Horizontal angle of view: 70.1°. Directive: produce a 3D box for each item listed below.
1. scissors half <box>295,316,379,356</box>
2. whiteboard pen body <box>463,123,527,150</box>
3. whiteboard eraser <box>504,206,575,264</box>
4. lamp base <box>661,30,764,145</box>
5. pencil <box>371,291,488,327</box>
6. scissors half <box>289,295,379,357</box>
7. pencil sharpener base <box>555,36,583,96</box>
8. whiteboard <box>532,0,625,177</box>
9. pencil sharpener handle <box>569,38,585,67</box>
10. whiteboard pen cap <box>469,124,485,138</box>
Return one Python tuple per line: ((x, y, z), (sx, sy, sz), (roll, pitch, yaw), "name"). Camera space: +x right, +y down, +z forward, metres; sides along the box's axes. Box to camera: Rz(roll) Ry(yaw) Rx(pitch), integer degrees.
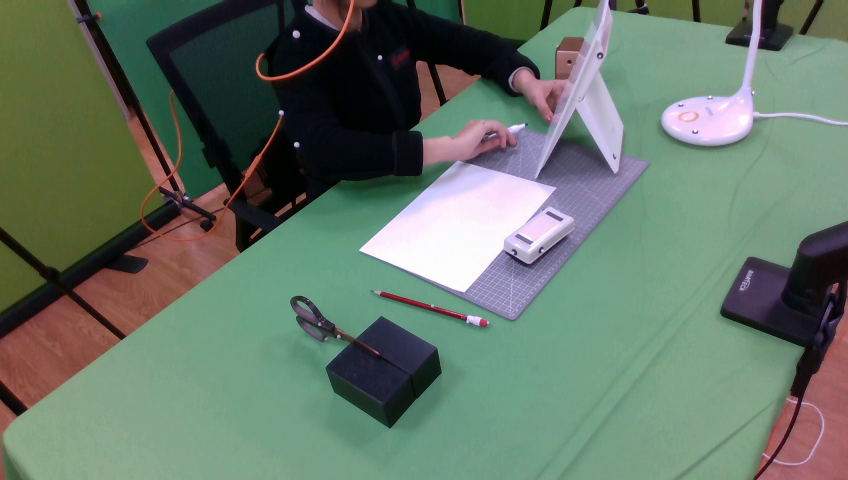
((-0.119, 0.131, 0.813), (0.173, 0.040, 0.013), (9, 34, 45), "scissors half")
((0.141, -0.206, 1.193), (0.141, 0.017, 0.017), (-22, 42, -13), "whiteboard pen body")
((0.179, -0.006, 0.936), (0.113, 0.042, 0.055), (-35, 46, -27), "whiteboard eraser")
((0.535, -0.287, 1.096), (0.179, 0.181, 0.159), (-10, 40, -4), "lamp base")
((0.003, 0.097, 0.877), (0.193, 0.012, 0.012), (13, 45, 26), "pencil")
((-0.122, 0.114, 0.803), (0.174, 0.040, 0.013), (26, 50, 32), "scissors half")
((0.317, -0.371, 1.290), (0.061, 0.107, 0.076), (10, 44, 22), "pencil sharpener base")
((0.320, -0.258, 1.050), (0.144, 0.306, 0.217), (21, 45, 4), "whiteboard")
((0.332, -0.413, 1.318), (0.036, 0.068, 0.030), (19, 46, 13), "pencil sharpener handle")
((0.106, -0.220, 1.224), (0.033, 0.018, 0.018), (-38, 48, -24), "whiteboard pen cap")
